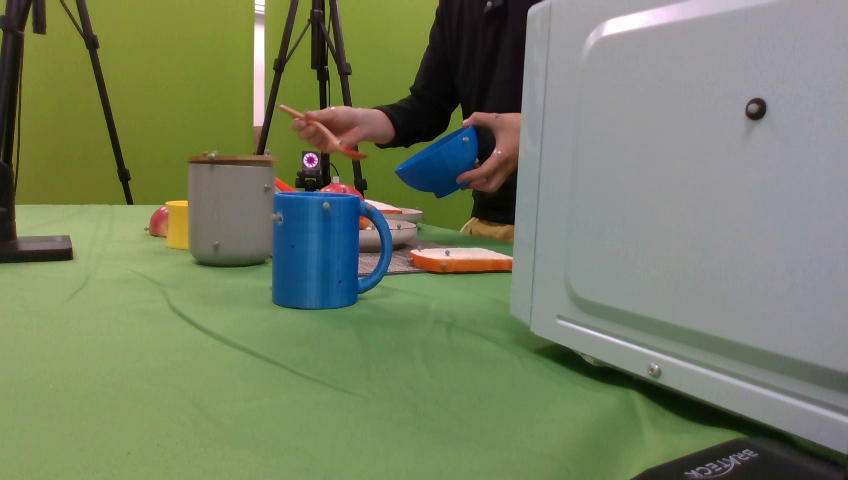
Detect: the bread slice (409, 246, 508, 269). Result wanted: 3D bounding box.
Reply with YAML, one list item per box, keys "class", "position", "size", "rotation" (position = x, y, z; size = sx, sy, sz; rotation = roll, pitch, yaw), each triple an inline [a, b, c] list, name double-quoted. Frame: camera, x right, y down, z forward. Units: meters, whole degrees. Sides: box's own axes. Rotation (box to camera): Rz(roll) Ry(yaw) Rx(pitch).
- class: "bread slice"
  position: [0.048, 0.022, 0.816]
  size: [0.132, 0.019, 0.104]
  rotation: [0, 7, -24]

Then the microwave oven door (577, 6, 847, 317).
- class: "microwave oven door"
  position: [0.294, -0.067, 0.571]
  size: [0.358, 0.243, 0.039]
  rotation: [-3, 9, -31]

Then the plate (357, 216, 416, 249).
- class: "plate"
  position: [-0.116, -0.014, 0.967]
  size: [0.208, 0.039, 0.207]
  rotation: [2, 7, 0]

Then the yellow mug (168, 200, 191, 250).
- class: "yellow mug"
  position: [-0.319, -0.023, 0.904]
  size: [0.130, 0.064, 0.100]
  rotation: [8, 10, 36]

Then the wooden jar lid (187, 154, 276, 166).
- class: "wooden jar lid"
  position: [-0.244, -0.097, 0.771]
  size: [0.108, 0.020, 0.108]
  rotation: [-1, 7, 0]

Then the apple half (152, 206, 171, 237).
- class: "apple half"
  position: [-0.415, -0.034, 1.017]
  size: [0.081, 0.053, 0.074]
  rotation: [1, 10, -9]

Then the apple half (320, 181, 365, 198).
- class: "apple half"
  position: [-0.130, -0.077, 0.952]
  size: [0.081, 0.033, 0.081]
  rotation: [3, 14, -1]

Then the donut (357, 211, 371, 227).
- class: "donut"
  position: [-0.132, -0.041, 0.959]
  size: [0.099, 0.048, 0.099]
  rotation: [3, 8, 0]

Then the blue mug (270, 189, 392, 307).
- class: "blue mug"
  position: [-0.090, 0.005, 0.588]
  size: [0.117, 0.106, 0.082]
  rotation: [1, 7, -11]

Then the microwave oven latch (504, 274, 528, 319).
- class: "microwave oven latch"
  position: [0.100, 0.041, 0.471]
  size: [0.079, 0.029, 0.030]
  rotation: [-1, 7, -27]

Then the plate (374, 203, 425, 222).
- class: "plate"
  position: [-0.102, -0.053, 1.299]
  size: [0.209, 0.038, 0.209]
  rotation: [2, 8, 0]

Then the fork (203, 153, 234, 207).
- class: "fork"
  position: [-0.480, -0.134, 1.411]
  size: [0.028, 0.018, 0.207]
  rotation: [1, -35, 0]

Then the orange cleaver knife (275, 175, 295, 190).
- class: "orange cleaver knife"
  position: [-0.283, -0.087, 1.343]
  size: [0.212, 0.077, 0.012]
  rotation: [24, -16, -41]

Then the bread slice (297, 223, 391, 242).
- class: "bread slice"
  position: [-0.121, -0.013, 0.970]
  size: [0.106, 0.018, 0.135]
  rotation: [8, 10, 42]

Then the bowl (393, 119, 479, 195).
- class: "bowl"
  position: [0.034, -0.125, 0.988]
  size: [0.151, 0.077, 0.151]
  rotation: [-30, 11, 7]

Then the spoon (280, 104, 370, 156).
- class: "spoon"
  position: [-0.163, -0.180, 0.975]
  size: [0.193, 0.021, 0.042]
  rotation: [35, 16, 23]

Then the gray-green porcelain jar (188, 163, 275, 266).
- class: "gray-green porcelain jar"
  position: [-0.246, -0.034, 0.779]
  size: [0.106, 0.126, 0.106]
  rotation: [2, 7, 0]

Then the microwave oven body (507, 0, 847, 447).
- class: "microwave oven body"
  position: [0.331, -0.042, 0.425]
  size: [0.444, 0.260, 0.324]
  rotation: [-2, 8, -31]
